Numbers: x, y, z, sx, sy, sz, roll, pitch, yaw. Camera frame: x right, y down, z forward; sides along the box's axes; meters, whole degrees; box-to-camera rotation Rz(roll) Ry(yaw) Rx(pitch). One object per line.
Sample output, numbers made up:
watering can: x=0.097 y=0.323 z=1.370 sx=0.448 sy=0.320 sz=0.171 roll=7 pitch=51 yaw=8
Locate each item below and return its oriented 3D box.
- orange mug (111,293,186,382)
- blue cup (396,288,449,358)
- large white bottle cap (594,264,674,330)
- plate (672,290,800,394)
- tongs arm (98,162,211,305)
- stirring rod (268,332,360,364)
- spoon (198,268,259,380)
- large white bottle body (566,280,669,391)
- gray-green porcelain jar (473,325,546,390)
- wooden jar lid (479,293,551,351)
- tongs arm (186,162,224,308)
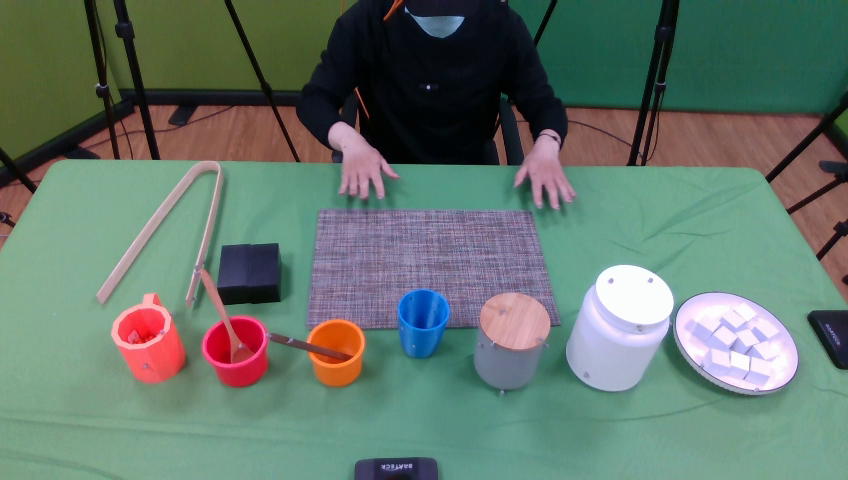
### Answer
orange mug: x=-0.435 y=0.149 z=0.969 sx=0.083 sy=0.101 sz=0.125 roll=-5 pitch=51 yaw=-8
blue cup: x=-0.006 y=0.144 z=1.002 sx=0.093 sy=0.101 sz=0.092 roll=3 pitch=46 yaw=-3
large white bottle cap: x=0.314 y=0.083 z=0.906 sx=0.115 sy=0.018 sz=0.114 roll=2 pitch=46 yaw=-2
plate: x=0.533 y=0.178 z=1.050 sx=0.208 sy=0.039 sz=0.206 roll=2 pitch=46 yaw=-2
tongs arm: x=-0.519 y=-0.027 z=1.184 sx=0.028 sy=0.028 sz=0.385 roll=5 pitch=45 yaw=13
stirring rod: x=-0.167 y=0.169 z=0.941 sx=0.177 sy=0.006 sz=0.014 roll=26 pitch=27 yaw=-41
spoon: x=-0.312 y=0.132 z=0.962 sx=0.041 sy=0.021 sz=0.194 roll=-24 pitch=96 yaw=-22
large white bottle body: x=0.310 y=0.142 z=0.967 sx=0.131 sy=0.185 sz=0.130 roll=2 pitch=46 yaw=-2
gray-green porcelain jar: x=0.135 y=0.170 z=0.969 sx=0.106 sy=0.127 sz=0.105 roll=2 pitch=46 yaw=-2
wooden jar lid: x=0.138 y=0.127 z=0.925 sx=0.108 sy=0.021 sz=0.107 roll=1 pitch=47 yaw=-1
tongs arm: x=-0.435 y=-0.025 z=1.181 sx=0.051 sy=0.027 sz=0.382 roll=-3 pitch=45 yaw=1
